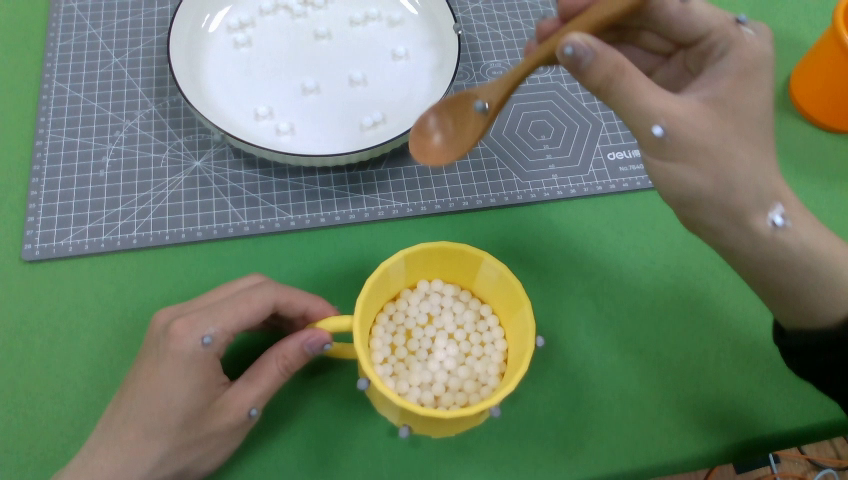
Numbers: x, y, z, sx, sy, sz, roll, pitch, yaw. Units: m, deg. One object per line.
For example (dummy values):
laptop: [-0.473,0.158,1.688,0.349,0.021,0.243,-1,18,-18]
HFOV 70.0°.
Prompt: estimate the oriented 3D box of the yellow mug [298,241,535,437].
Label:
yellow mug: [-0.007,0.059,0.351,0.131,0.064,0.099,1,64,-4]

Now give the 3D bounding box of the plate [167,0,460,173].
plate: [-0.077,-0.134,0.450,0.208,0.039,0.206,2,64,-4]

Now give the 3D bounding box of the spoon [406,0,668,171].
spoon: [0.057,-0.082,0.289,0.022,0.193,0.041,10,65,-38]
